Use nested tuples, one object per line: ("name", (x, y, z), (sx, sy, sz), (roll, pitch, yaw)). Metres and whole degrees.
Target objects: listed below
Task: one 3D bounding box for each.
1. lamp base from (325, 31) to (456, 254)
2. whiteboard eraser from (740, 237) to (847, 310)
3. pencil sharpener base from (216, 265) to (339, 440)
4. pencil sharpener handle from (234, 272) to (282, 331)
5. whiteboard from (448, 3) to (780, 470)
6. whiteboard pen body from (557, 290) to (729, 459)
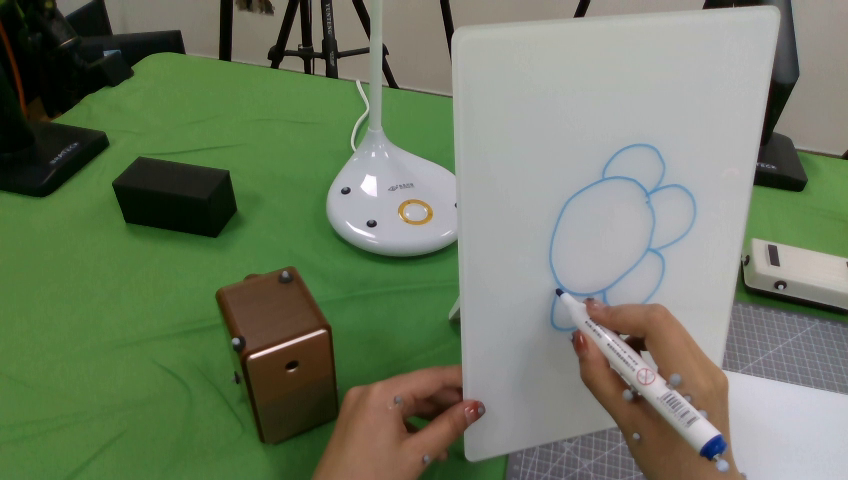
("lamp base", (-0.030, -0.105, 0.615), (0.161, 0.182, 0.177), (-22, 45, -27))
("whiteboard eraser", (0.369, 0.035, 0.588), (0.112, 0.042, 0.055), (12, 40, 11))
("pencil sharpener base", (-0.107, 0.083, 0.450), (0.061, 0.108, 0.076), (-19, 46, -23))
("pencil sharpener handle", (-0.130, 0.043, 0.475), (0.036, 0.068, 0.030), (-25, 48, -17))
("whiteboard", (0.110, -0.014, 0.467), (0.218, 0.307, 0.142), (-9, 23, -12))
("whiteboard pen body", (0.121, 0.071, 0.358), (0.017, 0.017, 0.139), (-16, 40, -21))
